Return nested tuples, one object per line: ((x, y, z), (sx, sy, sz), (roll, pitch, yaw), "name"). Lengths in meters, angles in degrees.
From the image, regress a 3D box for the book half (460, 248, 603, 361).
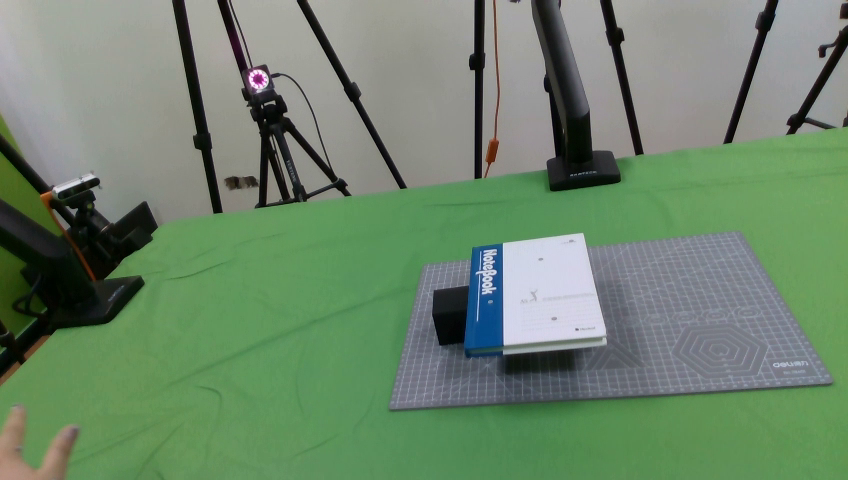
((0.122, 0.060, 0.714), (0.148, 0.016, 0.208), (-8, 30, 11), "book half")

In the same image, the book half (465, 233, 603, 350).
((0.123, 0.054, 0.710), (0.143, 0.007, 0.208), (-7, 29, 11), "book half")
